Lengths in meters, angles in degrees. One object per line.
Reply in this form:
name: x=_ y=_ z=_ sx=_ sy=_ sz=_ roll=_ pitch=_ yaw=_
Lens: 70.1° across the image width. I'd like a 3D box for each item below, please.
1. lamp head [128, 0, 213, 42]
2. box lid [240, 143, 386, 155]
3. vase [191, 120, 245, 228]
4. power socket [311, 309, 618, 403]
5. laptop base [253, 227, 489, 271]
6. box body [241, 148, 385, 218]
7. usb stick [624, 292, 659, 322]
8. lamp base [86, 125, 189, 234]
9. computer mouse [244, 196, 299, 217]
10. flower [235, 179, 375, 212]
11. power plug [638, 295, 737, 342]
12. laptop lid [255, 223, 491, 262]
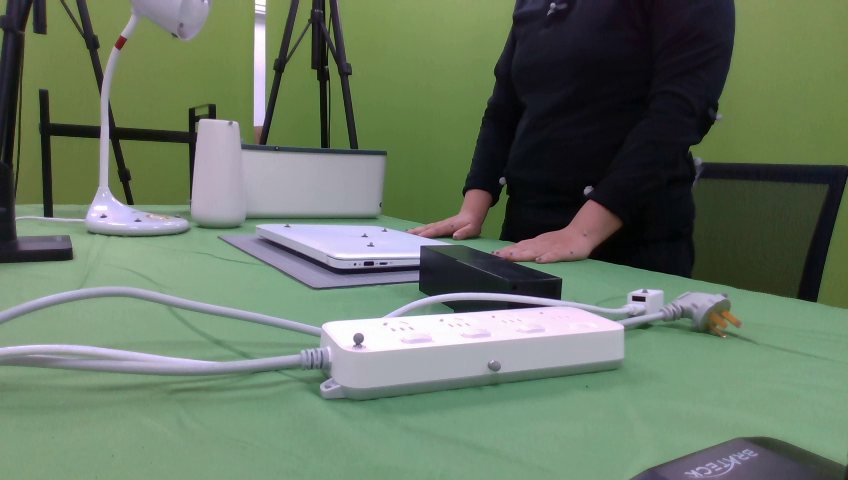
lamp head: x=-0.423 y=-0.394 z=0.980 sx=0.123 sy=0.112 sz=0.112 roll=20 pitch=7 yaw=-3
box lid: x=-0.304 y=-0.217 z=1.463 sx=0.373 sy=0.015 sz=0.262 roll=-2 pitch=8 yaw=-30
vase: x=-0.389 y=-0.124 z=1.143 sx=0.098 sy=0.200 sz=0.098 roll=3 pitch=9 yaw=0
power socket: x=0.034 y=0.074 z=0.415 sx=0.228 sy=0.032 sz=0.072 roll=-1 pitch=8 yaw=-24
laptop base: x=-0.096 y=0.012 z=0.911 sx=0.237 sy=0.023 sz=0.352 roll=2 pitch=6 yaw=-32
box body: x=-0.306 y=-0.144 z=1.474 sx=0.366 sy=0.160 sz=0.253 roll=-1 pitch=9 yaw=-30
usb stick: x=0.211 y=0.064 z=0.580 sx=0.021 sy=0.027 sz=0.059 roll=-1 pitch=-4 yaw=36
lamp base: x=-0.497 y=-0.105 z=1.027 sx=0.179 sy=0.180 sz=0.160 roll=1 pitch=7 yaw=2
computer mouse: x=-0.346 y=-0.077 z=1.372 sx=0.118 sy=0.041 sz=0.062 roll=-11 pitch=19 yaw=-33
flower: x=-0.264 y=-0.093 z=1.417 sx=0.364 sy=0.044 sz=0.038 roll=8 pitch=47 yaw=-39
power plug: x=0.235 y=0.078 z=0.536 sx=0.072 sy=0.035 sz=0.052 roll=-34 pitch=40 yaw=-5
laptop lid: x=-0.093 y=0.000 z=0.911 sx=0.243 sy=0.013 sz=0.355 roll=1 pitch=7 yaw=-30
